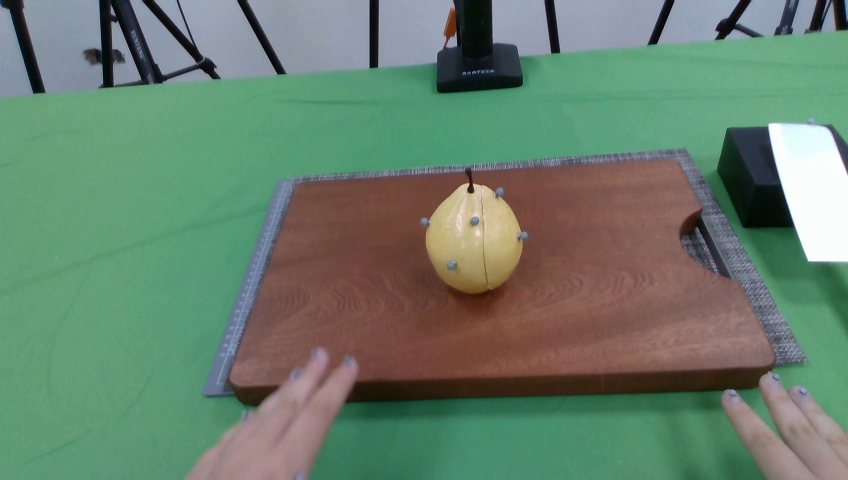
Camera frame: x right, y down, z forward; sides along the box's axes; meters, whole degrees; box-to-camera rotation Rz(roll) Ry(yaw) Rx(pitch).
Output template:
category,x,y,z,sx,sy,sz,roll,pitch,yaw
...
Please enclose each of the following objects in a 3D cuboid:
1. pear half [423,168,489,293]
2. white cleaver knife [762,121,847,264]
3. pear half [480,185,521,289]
category,x,y,z,sx,sy,sz,roll,pitch,yaw
pear half,0.026,-0.010,0.485,0.056,0.111,0.075,-3,36,5
white cleaver knife,0.342,-0.001,0.503,0.066,0.022,0.284,-2,51,11
pear half,0.062,-0.004,0.487,0.031,0.089,0.070,-3,33,5
